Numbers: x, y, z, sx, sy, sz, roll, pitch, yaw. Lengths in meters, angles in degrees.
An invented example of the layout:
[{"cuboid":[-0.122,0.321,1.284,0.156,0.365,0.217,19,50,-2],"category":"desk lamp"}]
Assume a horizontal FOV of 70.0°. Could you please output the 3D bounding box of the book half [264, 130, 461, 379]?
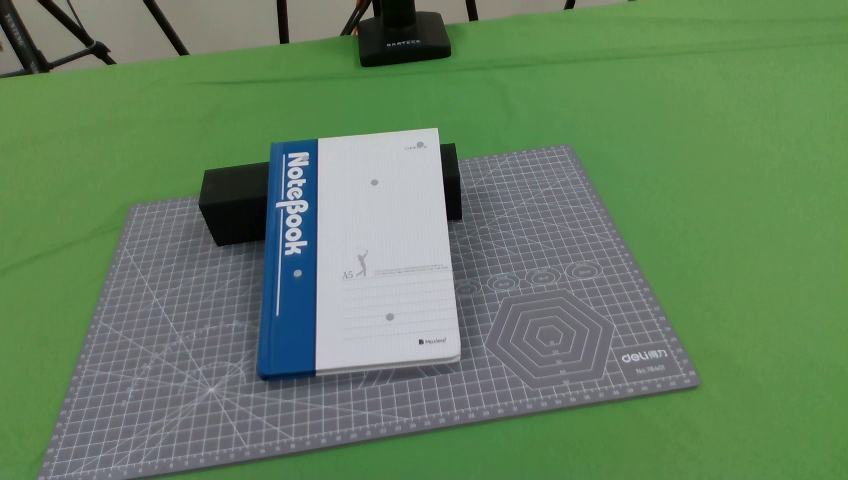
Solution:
[{"cuboid":[-0.052,0.002,0.481,0.143,0.007,0.208,-5,61,1],"category":"book half"}]
